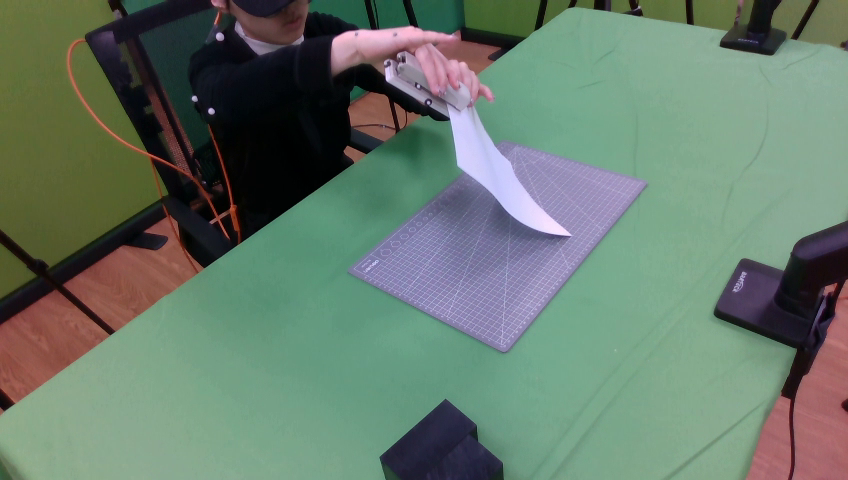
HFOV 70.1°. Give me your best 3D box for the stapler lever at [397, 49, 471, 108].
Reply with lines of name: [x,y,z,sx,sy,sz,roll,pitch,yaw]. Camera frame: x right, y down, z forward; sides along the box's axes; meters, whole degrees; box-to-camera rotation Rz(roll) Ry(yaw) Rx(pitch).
stapler lever: [0.016,-0.211,0.793,0.040,0.119,0.026,-33,47,27]

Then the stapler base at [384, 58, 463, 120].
stapler base: [0.006,-0.204,0.802,0.132,0.024,0.041,21,43,-34]
